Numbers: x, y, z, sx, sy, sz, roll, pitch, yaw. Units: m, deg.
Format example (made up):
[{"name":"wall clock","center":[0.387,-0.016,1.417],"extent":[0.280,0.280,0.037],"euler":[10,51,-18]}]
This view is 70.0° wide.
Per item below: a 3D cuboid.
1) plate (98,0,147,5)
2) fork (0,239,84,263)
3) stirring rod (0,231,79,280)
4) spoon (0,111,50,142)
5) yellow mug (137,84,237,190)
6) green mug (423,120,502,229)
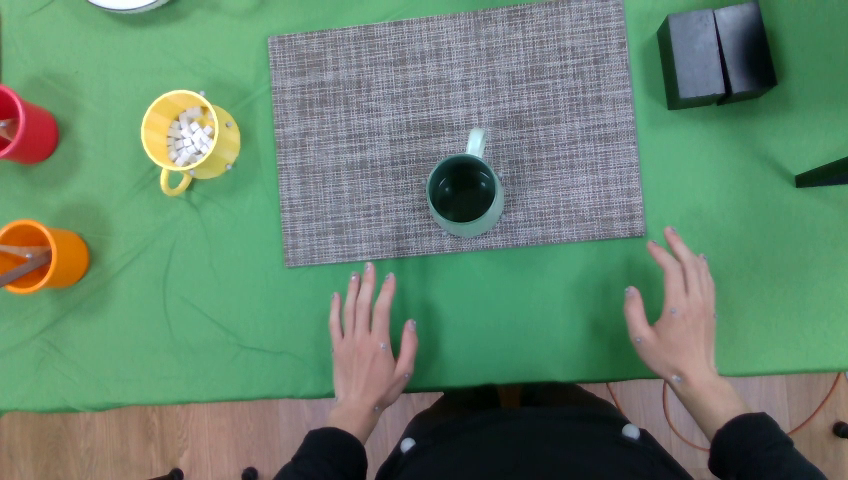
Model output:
[{"name":"plate","center":[-0.389,-0.409,0.798],"extent":[0.207,0.039,0.207],"euler":[0,88,6]},{"name":"fork","center":[-0.535,0.001,0.743],"extent":[0.209,0.018,0.028],"euler":[14,85,-37]},{"name":"stirring rod","center":[-0.510,0.036,0.745],"extent":[0.014,0.006,0.176],"euler":[46,51,5]},{"name":"spoon","center":[-0.583,-0.155,0.757],"extent":[0.195,0.021,0.041],"euler":[4,86,-37]},{"name":"yellow mug","center":[-0.303,-0.124,0.765],"extent":[0.100,0.064,0.131],"euler":[20,91,6]},{"name":"green mug","center":[0.047,-0.077,0.702],"extent":[0.092,0.105,0.125],"euler":[12,89,7]}]
